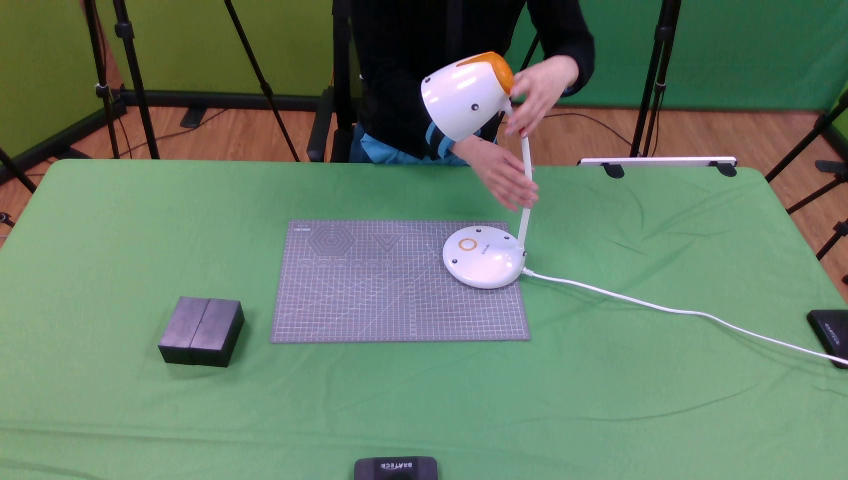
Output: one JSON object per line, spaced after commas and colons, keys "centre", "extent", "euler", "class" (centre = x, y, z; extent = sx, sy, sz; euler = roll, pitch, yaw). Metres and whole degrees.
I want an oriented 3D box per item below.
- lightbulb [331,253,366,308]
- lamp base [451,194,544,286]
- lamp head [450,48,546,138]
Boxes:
{"centre": [-0.131, 0.074, 1.094], "extent": [0.059, 0.060, 0.107], "euler": [-15, 65, -18], "class": "lightbulb"}
{"centre": [0.149, -0.026, 1.115], "extent": [0.179, 0.181, 0.159], "euler": [9, 46, 1], "class": "lamp base"}
{"centre": [0.118, -0.223, 0.896], "extent": [0.123, 0.113, 0.112], "euler": [-21, 40, 25], "class": "lamp head"}
